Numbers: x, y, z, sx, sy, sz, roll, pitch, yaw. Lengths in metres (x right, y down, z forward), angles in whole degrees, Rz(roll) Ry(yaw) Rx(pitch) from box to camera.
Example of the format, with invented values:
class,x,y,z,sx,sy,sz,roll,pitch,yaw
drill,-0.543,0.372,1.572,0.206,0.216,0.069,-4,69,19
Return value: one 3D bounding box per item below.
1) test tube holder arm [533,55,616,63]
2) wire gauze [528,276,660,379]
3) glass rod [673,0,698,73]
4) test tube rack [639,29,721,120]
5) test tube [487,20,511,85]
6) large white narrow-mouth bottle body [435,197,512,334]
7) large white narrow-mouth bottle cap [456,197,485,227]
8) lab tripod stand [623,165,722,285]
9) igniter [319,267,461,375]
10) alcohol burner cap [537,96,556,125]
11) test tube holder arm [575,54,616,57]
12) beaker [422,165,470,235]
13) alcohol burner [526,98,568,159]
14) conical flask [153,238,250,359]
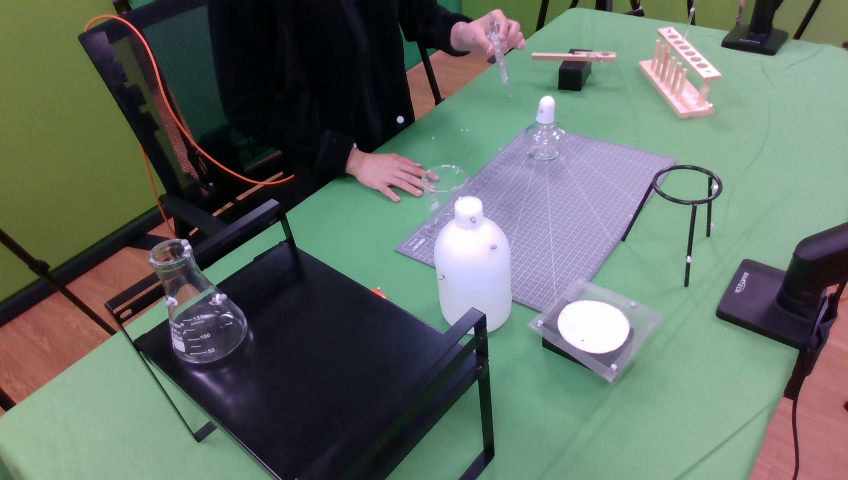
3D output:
class,x,y,z,sx,sy,sz,roll,pitch,yaw
test tube holder arm,0.329,-0.398,1.327,0.178,0.015,0.013,5,51,15
wire gauze,0.213,0.103,0.763,0.124,0.011,0.122,30,52,35
glass rod,0.537,-0.425,1.244,0.008,0.200,0.008,0,47,0
test tube rack,0.527,-0.351,1.262,0.067,0.085,0.241,-8,40,1
test tube,0.130,-0.316,1.033,0.017,0.151,0.017,-7,63,15
large white narrow-mouth bottle body,0.066,0.028,0.805,0.102,0.195,0.101,-4,40,4
large white narrow-mouth bottle cap,0.058,-0.035,0.750,0.038,0.024,0.037,-4,40,4
lab tripod stand,0.365,-0.030,0.875,0.148,0.132,0.147,-6,41,6
igniter,-0.060,0.108,0.862,0.274,0.025,0.057,29,62,34
alcohol burner cap,0.223,-0.237,1.095,0.034,0.048,0.033,0,42,1
test tube holder arm,0.373,-0.398,1.318,0.087,0.015,0.010,5,51,16
beaker,0.041,-0.063,0.986,0.073,0.101,0.084,20,47,29
alcohol burner,0.228,-0.210,1.118,0.078,0.119,0.077,-5,43,5
conical flask,-0.225,0.055,0.597,0.075,0.122,0.075,-5,41,4
